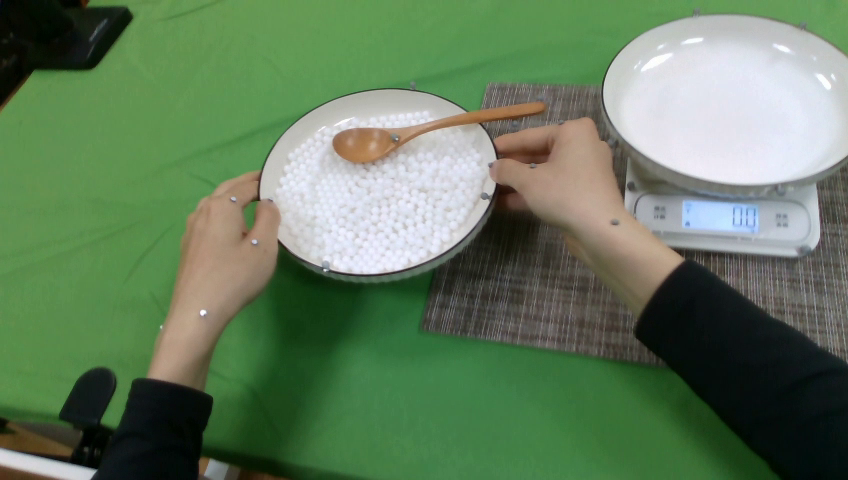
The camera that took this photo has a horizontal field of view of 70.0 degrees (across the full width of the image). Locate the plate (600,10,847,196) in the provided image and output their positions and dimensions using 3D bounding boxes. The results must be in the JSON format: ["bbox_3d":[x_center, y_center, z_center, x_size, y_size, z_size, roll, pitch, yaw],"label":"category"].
[{"bbox_3d":[0.256,-0.115,0.515,0.207,0.039,0.205,-5,55,8],"label":"plate"}]

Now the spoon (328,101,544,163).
[{"bbox_3d":[0.011,-0.101,0.540,0.193,0.022,0.041,-12,57,6],"label":"spoon"}]

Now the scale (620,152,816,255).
[{"bbox_3d":[0.254,-0.080,0.531,0.148,0.032,0.199,5,58,15],"label":"scale"}]

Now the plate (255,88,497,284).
[{"bbox_3d":[-0.041,-0.048,0.530,0.209,0.038,0.207,-2,57,4],"label":"plate"}]
